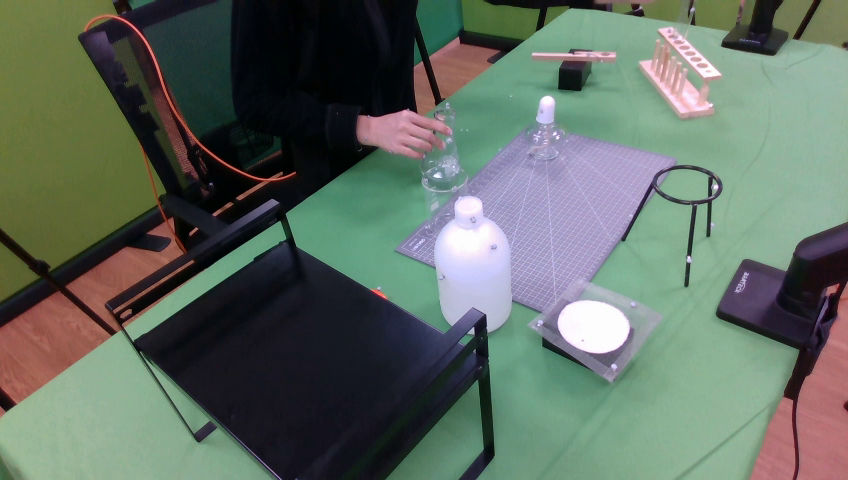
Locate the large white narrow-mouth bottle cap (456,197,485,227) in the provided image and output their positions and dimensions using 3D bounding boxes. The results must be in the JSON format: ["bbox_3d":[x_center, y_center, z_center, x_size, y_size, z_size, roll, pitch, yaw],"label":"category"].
[{"bbox_3d":[0.058,-0.036,0.750,0.038,0.024,0.037,-4,40,4],"label":"large white narrow-mouth bottle cap"}]

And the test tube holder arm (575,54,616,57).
[{"bbox_3d":[0.373,-0.398,1.318,0.087,0.015,0.010,5,51,16],"label":"test tube holder arm"}]

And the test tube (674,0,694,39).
[{"bbox_3d":[0.481,-0.435,1.097,0.017,0.151,0.017,-1,47,1],"label":"test tube"}]

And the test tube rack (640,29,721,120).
[{"bbox_3d":[0.527,-0.351,1.262,0.067,0.085,0.241,-8,40,1],"label":"test tube rack"}]

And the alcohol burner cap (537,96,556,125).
[{"bbox_3d":[0.223,-0.237,1.095,0.034,0.048,0.033,0,43,1],"label":"alcohol burner cap"}]

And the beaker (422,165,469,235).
[{"bbox_3d":[0.041,-0.063,0.986,0.073,0.101,0.084,20,47,29],"label":"beaker"}]

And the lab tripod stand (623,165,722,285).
[{"bbox_3d":[0.365,-0.030,0.874,0.148,0.132,0.147,-6,41,6],"label":"lab tripod stand"}]

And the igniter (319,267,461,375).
[{"bbox_3d":[-0.060,0.108,0.862,0.274,0.025,0.057,28,62,35],"label":"igniter"}]

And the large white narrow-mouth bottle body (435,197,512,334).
[{"bbox_3d":[0.066,0.028,0.805,0.102,0.195,0.101,-4,40,4],"label":"large white narrow-mouth bottle body"}]

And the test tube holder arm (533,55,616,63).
[{"bbox_3d":[0.329,-0.398,1.327,0.178,0.015,0.013,5,51,16],"label":"test tube holder arm"}]

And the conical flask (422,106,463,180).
[{"bbox_3d":[0.035,-0.171,1.058,0.075,0.122,0.075,2,41,-2],"label":"conical flask"}]

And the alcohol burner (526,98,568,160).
[{"bbox_3d":[0.228,-0.210,1.118,0.078,0.119,0.077,-5,43,5],"label":"alcohol burner"}]

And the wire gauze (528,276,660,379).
[{"bbox_3d":[0.214,0.103,0.763,0.124,0.011,0.122,30,53,35],"label":"wire gauze"}]

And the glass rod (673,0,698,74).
[{"bbox_3d":[0.537,-0.424,1.244,0.008,0.200,0.008,0,47,0],"label":"glass rod"}]
